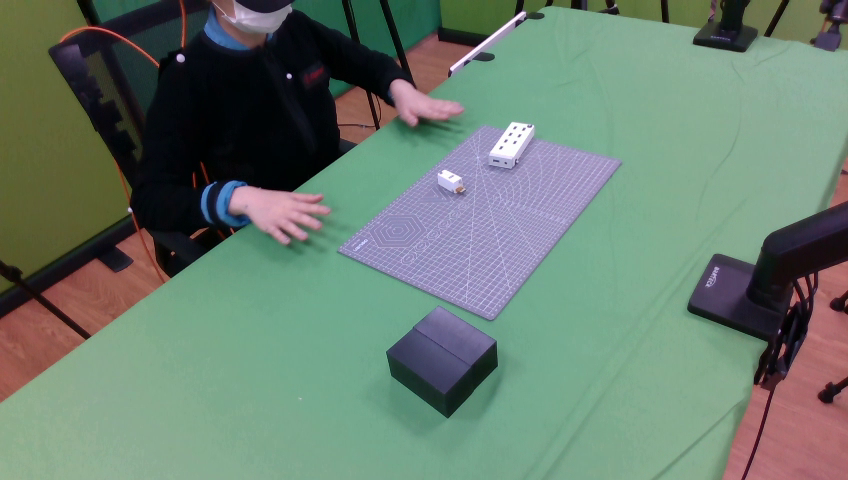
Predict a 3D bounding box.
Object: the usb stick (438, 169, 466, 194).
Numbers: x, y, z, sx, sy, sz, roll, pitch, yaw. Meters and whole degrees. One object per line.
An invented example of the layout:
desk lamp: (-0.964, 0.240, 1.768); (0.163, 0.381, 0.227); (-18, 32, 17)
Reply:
usb stick: (0.051, -0.102, 1.073); (0.021, 0.027, 0.058); (-32, 49, -28)

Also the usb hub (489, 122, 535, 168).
usb hub: (0.169, -0.182, 1.149); (0.049, 0.025, 0.125); (14, 46, 23)
